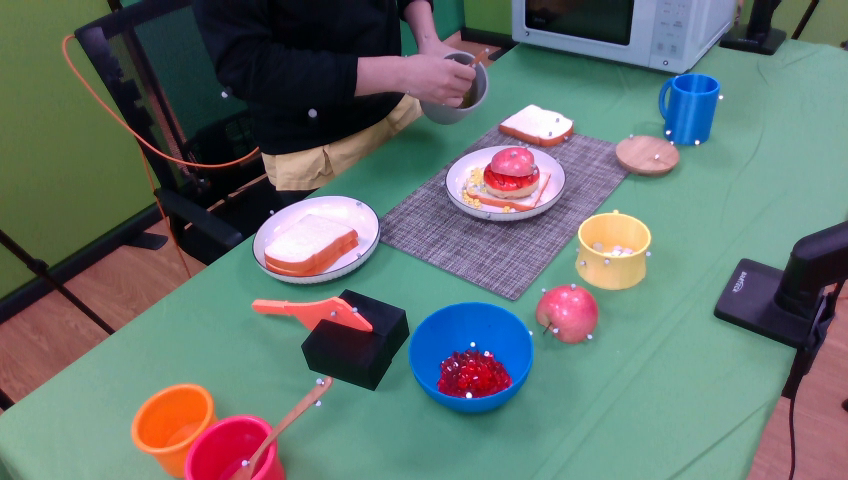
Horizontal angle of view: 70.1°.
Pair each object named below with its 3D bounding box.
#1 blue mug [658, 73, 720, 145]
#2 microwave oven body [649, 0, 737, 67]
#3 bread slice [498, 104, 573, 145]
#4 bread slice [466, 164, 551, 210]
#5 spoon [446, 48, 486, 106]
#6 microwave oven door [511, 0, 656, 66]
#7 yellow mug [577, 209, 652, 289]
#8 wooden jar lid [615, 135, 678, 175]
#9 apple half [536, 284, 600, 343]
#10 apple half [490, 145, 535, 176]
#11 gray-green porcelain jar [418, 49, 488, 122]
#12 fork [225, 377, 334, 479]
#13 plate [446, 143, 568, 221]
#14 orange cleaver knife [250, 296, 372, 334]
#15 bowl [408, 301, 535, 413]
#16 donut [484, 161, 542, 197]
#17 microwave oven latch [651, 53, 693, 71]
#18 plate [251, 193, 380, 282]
[{"bbox_3d":[0.483,-0.250,1.127,0.082,0.106,0.115,-26,44,-19],"label":"blue mug"},{"bbox_3d":[0.475,-0.602,1.411,0.438,0.261,0.327,23,50,32],"label":"microwave oven body"},{"bbox_3d":[0.231,-0.231,1.205,0.105,0.019,0.130,-36,47,-29],"label":"bread slice"},{"bbox_3d":[0.141,-0.093,1.042,0.133,0.018,0.107,10,43,19],"label":"bread slice"},{"bbox_3d":[0.065,-0.278,1.069,0.042,0.193,0.021,-21,74,-25],"label":"spoon"},{"bbox_3d":[0.351,-0.540,1.349,0.353,0.245,0.039,24,50,31],"label":"microwave oven door"},{"bbox_3d":[0.279,0.004,0.893,0.099,0.064,0.130,5,42,14],"label":"yellow mug"},{"bbox_3d":[0.398,-0.151,1.086,0.108,0.021,0.108,-1,42,2],"label":"wooden jar lid"},{"bbox_3d":[0.196,0.091,0.815,0.075,0.053,0.080,-22,42,-20],"label":"apple half"},{"bbox_3d":[0.147,-0.138,0.994,0.081,0.033,0.081,1,37,0],"label":"apple half"},{"bbox_3d":[0.049,-0.279,1.114,0.106,0.106,0.126,-19,3,-14],"label":"gray-green porcelain jar"},{"bbox_3d":[-0.163,0.216,0.646,0.207,0.019,0.028,-49,42,16],"label":"fork"},{"bbox_3d":[0.142,-0.097,1.045,0.207,0.039,0.206,-4,40,4],"label":"plate"},{"bbox_3d":[-0.158,0.103,0.828,0.210,0.078,0.012,-4,43,39],"label":"orange cleaver knife"},{"bbox_3d":[0.059,0.156,0.739,0.151,0.077,0.150,-4,40,4],"label":"bowl"},{"bbox_3d":[0.149,-0.109,1.016,0.099,0.048,0.098,-4,40,4],"label":"donut"},{"bbox_3d":[0.532,-0.386,1.301,0.078,0.029,0.030,27,52,34],"label":"microwave oven latch"},{"bbox_3d":[-0.173,-0.001,0.984,0.209,0.038,0.208,-4,40,4],"label":"plate"}]
